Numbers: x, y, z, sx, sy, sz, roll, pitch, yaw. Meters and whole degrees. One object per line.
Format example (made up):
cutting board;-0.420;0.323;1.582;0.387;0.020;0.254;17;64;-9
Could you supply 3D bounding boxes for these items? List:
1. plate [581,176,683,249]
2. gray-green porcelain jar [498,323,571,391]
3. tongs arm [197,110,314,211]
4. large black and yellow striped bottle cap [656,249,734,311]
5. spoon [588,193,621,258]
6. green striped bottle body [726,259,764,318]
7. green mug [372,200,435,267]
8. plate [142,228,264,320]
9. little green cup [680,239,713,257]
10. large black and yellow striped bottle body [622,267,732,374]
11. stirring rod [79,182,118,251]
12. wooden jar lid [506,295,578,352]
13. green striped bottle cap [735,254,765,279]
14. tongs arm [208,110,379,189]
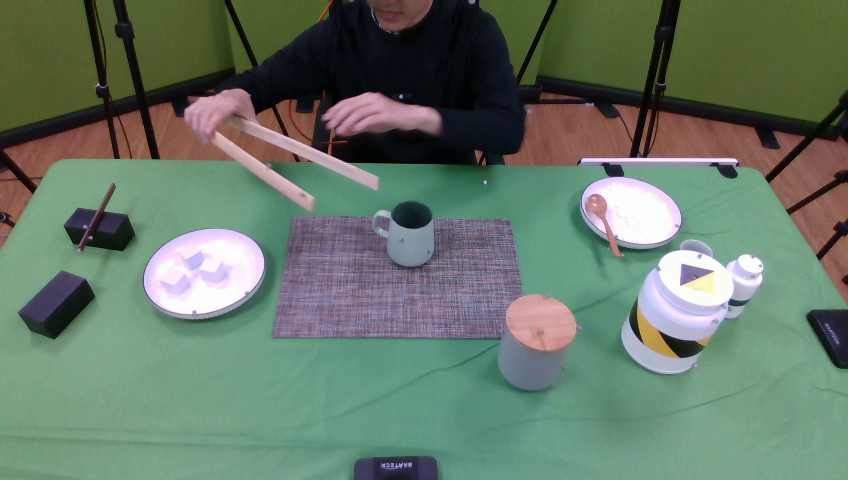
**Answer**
plate;0.430;-0.054;1.267;0.209;0.038;0.208;2;46;-2
gray-green porcelain jar;0.176;0.172;0.971;0.106;0.127;0.105;2;46;-2
tongs arm;-0.285;-0.141;1.012;0.382;0.026;0.051;31;38;34
large black and yellow striped bottle cap;0.419;0.061;0.938;0.115;0.019;0.114;2;47;-2
spoon;0.367;-0.032;1.220;0.041;0.022;0.192;1;38;-1
green striped bottle body;0.563;0.081;1.089;0.063;0.120;0.063;2;46;-2
green mug;-0.040;-0.016;1.146;0.125;0.105;0.092;17;48;13
plate;-0.394;0.064;1.095;0.208;0.039;0.206;2;46;-2
little green cup;0.530;0.033;1.189;0.061;0.039;0.061;2;48;-2
large black and yellow striped bottle body;0.415;0.119;0.997;0.131;0.185;0.130;2;46;-2
stirring rod;-0.605;-0.047;1.130;0.006;0.014;0.175;0;47;1
wooden jar lid;0.179;0.129;0.925;0.108;0.021;0.107;2;43;-2
green striped bottle cap;0.566;0.046;1.051;0.044;0.020;0.044;0;45;0
tongs arm;-0.236;-0.164;1.066;0.386;0.028;0.028;24;38;24
